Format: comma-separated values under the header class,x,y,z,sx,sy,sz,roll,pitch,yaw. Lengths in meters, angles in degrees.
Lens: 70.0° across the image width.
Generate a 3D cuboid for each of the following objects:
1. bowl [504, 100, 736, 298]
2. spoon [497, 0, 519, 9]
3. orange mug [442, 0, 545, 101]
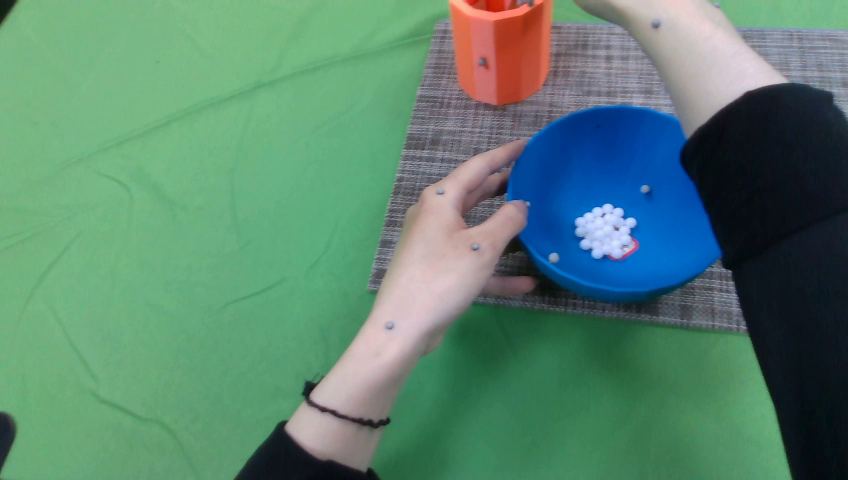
class,x,y,z,sx,sy,sz,roll,pitch,yaw
bowl,0.133,-0.018,0.437,0.151,0.077,0.150,-3,61,6
spoon,0.078,-0.212,0.463,0.021,0.194,0.041,-15,80,-3
orange mug,0.068,-0.203,0.538,0.083,0.102,0.125,16,70,17
